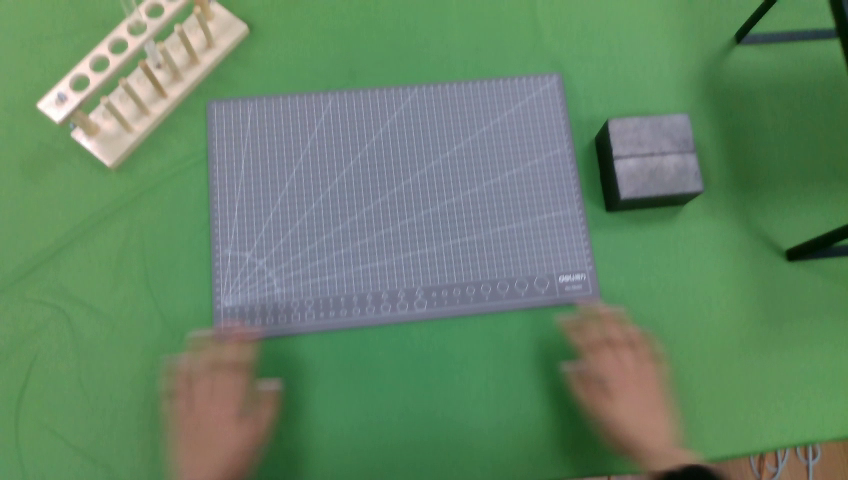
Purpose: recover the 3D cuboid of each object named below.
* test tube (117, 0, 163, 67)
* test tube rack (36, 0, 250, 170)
[{"bbox_3d":[-0.322,-0.244,0.680,0.017,0.151,0.017,2,70,-5],"label":"test tube"},{"bbox_3d":[-0.323,-0.205,0.721,0.066,0.085,0.242,38,77,7],"label":"test tube rack"}]
